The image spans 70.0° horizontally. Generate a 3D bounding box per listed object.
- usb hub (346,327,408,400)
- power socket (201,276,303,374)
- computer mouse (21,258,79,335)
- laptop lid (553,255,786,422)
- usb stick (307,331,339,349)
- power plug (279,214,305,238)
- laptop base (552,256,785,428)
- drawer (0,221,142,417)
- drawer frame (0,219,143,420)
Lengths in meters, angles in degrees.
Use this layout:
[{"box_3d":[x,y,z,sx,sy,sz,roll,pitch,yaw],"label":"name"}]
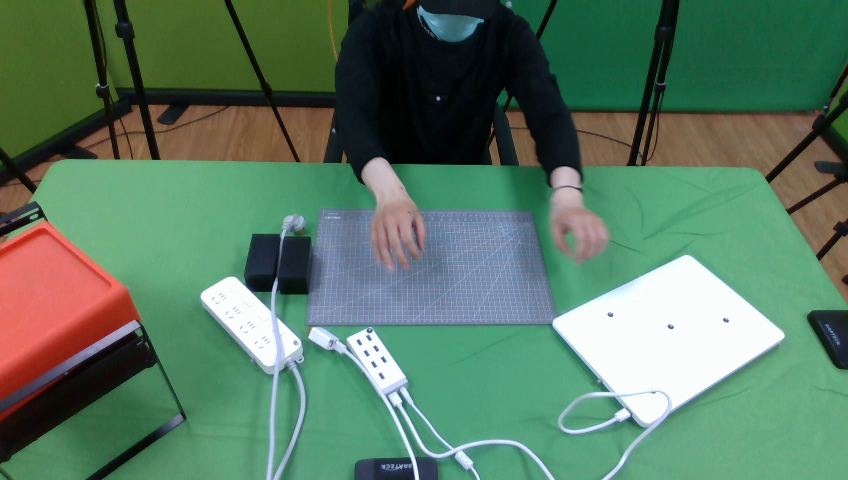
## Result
[{"box_3d":[-0.078,0.202,0.998,0.049,0.025,0.124,-23,53,-24],"label":"usb hub"},{"box_3d":[-0.296,0.141,1.034,0.072,0.033,0.225,-35,58,-31],"label":"power socket"},{"box_3d":[-0.505,0.073,0.819,0.063,0.041,0.116,-6,57,-19],"label":"computer mouse"},{"box_3d":[0.433,0.154,1.070,0.357,0.013,0.240,-20,49,-22],"label":"laptop lid"},{"box_3d":[-0.175,0.167,1.023,0.059,0.027,0.021,9,89,24],"label":"usb stick"},{"box_3d":[-0.261,-0.020,1.185,0.035,0.053,0.072,10,56,33],"label":"power plug"},{"box_3d":[0.433,0.164,1.078,0.355,0.023,0.234,-22,48,-23],"label":"laptop base"},{"box_3d":[-0.516,0.095,0.780,0.193,0.073,0.211,32,53,23],"label":"drawer"},{"box_3d":[-0.518,0.096,0.777,0.201,0.083,0.213,30,52,22],"label":"drawer frame"}]
